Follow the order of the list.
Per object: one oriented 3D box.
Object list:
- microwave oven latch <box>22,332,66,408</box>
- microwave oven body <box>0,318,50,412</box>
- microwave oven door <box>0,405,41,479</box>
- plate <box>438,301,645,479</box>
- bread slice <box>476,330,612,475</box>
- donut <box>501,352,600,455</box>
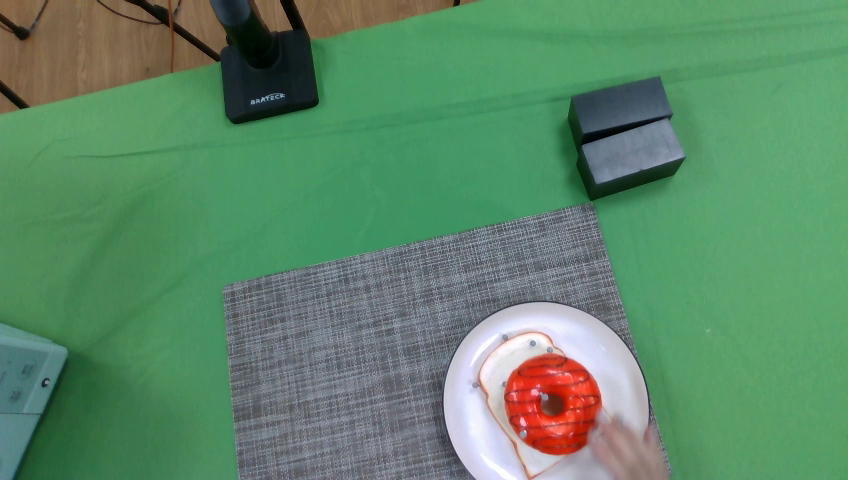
[{"bbox_3d":[-0.440,0.149,0.690,0.030,0.030,0.079,17,77,11],"label":"microwave oven latch"},{"bbox_3d":[-0.646,0.247,0.586,0.325,0.262,0.440,15,77,11],"label":"microwave oven body"},{"bbox_3d":[-0.521,0.321,0.543,0.039,0.245,0.354,15,76,12],"label":"microwave oven door"},{"bbox_3d":[0.119,0.168,0.629,0.207,0.039,0.206,-2,74,6],"label":"plate"},{"bbox_3d":[0.116,0.162,0.633,0.105,0.019,0.130,-32,74,-4],"label":"bread slice"},{"bbox_3d":[0.125,0.161,0.601,0.099,0.048,0.098,-1,74,3],"label":"donut"}]
